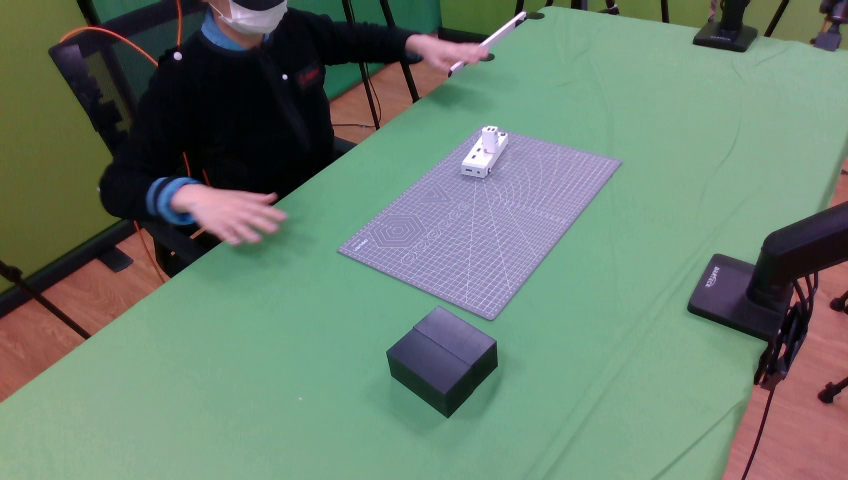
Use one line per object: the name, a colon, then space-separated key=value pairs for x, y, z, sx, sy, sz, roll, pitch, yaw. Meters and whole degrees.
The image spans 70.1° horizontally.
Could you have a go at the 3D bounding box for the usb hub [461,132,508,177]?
usb hub: x=0.116 y=-0.163 z=1.135 sx=0.049 sy=0.025 sz=0.125 roll=14 pitch=45 yaw=22

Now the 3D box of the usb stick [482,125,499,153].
usb stick: x=0.123 y=-0.179 z=1.107 sx=0.027 sy=0.059 sz=0.021 roll=13 pitch=43 yaw=21
